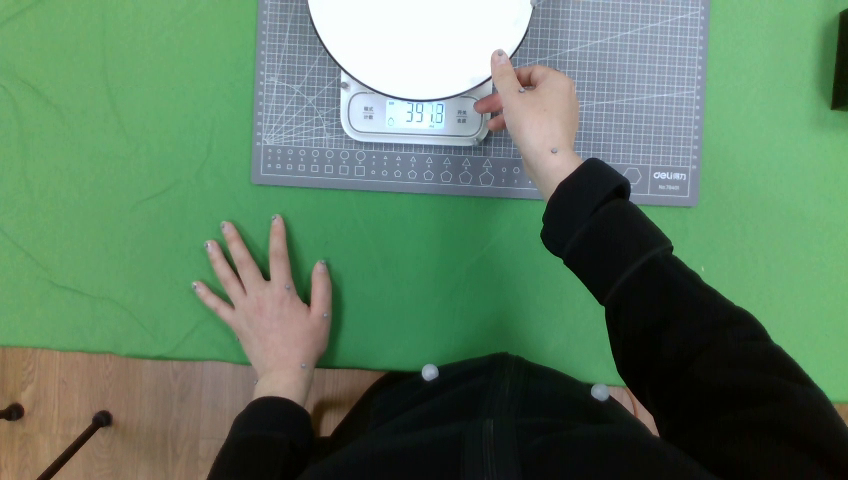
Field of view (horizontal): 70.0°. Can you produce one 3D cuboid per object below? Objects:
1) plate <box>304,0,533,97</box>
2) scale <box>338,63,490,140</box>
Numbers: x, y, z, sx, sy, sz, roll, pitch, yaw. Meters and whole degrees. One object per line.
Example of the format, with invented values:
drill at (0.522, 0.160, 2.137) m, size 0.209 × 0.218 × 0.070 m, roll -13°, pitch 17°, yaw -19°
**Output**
plate at (-0.005, -0.233, 0.556) m, size 0.209 × 0.038 × 0.209 m, roll 0°, pitch 92°, yaw -2°
scale at (-0.008, -0.202, 0.590) m, size 0.149 × 0.031 × 0.201 m, roll 2°, pitch 92°, yaw -1°
